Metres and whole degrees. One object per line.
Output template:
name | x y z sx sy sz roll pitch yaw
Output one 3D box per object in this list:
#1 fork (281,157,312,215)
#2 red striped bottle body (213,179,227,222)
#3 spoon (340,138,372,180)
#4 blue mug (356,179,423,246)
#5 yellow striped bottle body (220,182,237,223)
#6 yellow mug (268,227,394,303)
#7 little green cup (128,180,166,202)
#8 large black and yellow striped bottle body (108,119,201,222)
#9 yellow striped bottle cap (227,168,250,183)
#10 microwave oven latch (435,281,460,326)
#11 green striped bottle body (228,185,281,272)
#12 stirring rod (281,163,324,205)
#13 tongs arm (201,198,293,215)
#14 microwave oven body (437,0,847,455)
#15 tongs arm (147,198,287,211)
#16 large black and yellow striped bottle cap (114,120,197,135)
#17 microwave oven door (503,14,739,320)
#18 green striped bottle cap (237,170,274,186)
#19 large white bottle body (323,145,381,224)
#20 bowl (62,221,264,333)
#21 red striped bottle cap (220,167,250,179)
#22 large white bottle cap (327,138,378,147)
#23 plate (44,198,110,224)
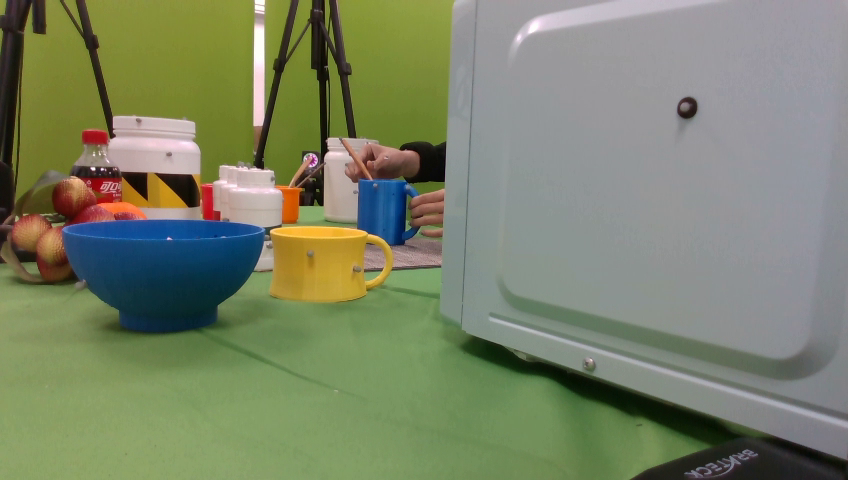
fork | -0.289 -0.116 1.321 0.028 0.019 0.207 6 51 19
red striped bottle body | -0.284 -0.048 0.909 0.063 0.119 0.063 3 10 0
spoon | -0.092 -0.095 1.024 0.021 0.193 0.042 -32 -10 22
blue mug | -0.056 -0.046 1.005 0.116 0.106 0.082 5 8 20
yellow striped bottle body | -0.246 -0.036 0.825 0.063 0.120 0.063 3 8 0
yellow mug | -0.094 0.023 0.629 0.131 0.064 0.099 0 7 -22
little green cup | -0.485 -0.087 1.062 0.061 0.038 0.061 0 6 0
large black and yellow striped bottle body | -0.412 -0.088 0.930 0.131 0.184 0.130 3 7 0
yellow striped bottle cap | -0.243 -0.087 0.818 0.044 0.018 0.044 4 6 0
microwave oven latch | 0.044 0.046 0.470 0.079 0.029 0.030 -3 8 -39
green striped bottle body | -0.208 -0.023 0.745 0.063 0.119 0.063 2 7 0
stirring rod | -0.278 -0.105 1.293 0.176 0.006 0.014 -47 24 -18
tongs arm | -0.423 -0.084 1.472 0.050 0.026 0.386 2 6 21
microwave oven body | 0.280 -0.040 0.465 0.444 0.260 0.324 -3 9 -41
tongs arm | -0.504 -0.091 1.513 0.028 0.028 0.389 0 4 37
large black and yellow striped bottle cap | -0.407 -0.171 0.920 0.115 0.019 0.115 2 9 0
microwave oven door | 0.217 -0.065 0.600 0.358 0.243 0.039 -4 10 -41
green striped bottle cap | -0.205 -0.075 0.737 0.044 0.020 0.044 1 6 0
large white bottle body | -0.163 -0.134 1.369 0.131 0.184 0.130 2 8 0
bowl | -0.209 0.029 0.496 0.151 0.077 0.151 2 7 0
red striped bottle cap | -0.281 -0.100 0.901 0.044 0.017 0.044 0 5 0
large white bottle cap | -0.160 -0.218 1.357 0.115 0.018 0.115 2 8 0
plate | -0.617 -0.056 1.179 0.209 0.038 0.209 3 7 0
